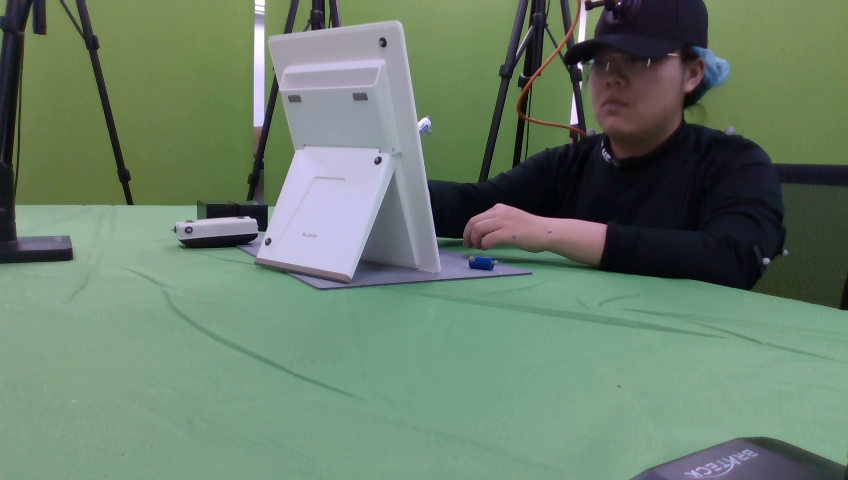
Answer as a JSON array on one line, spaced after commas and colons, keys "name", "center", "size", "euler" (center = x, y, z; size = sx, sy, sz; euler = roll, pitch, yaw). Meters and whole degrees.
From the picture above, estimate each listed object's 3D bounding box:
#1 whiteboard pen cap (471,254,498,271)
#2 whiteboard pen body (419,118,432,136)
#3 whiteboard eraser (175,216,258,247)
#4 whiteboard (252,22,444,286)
[{"name": "whiteboard pen cap", "center": [0.080, 0.031, 0.799], "size": [0.033, 0.018, 0.018], "euler": [19, 2, -17]}, {"name": "whiteboard pen body", "center": [-0.023, -0.128, 0.794], "size": [0.017, 0.017, 0.141], "euler": [6, 35, 25]}, {"name": "whiteboard eraser", "center": [-0.314, -0.012, 0.914], "size": [0.113, 0.042, 0.055], "euler": [-5, 12, -30]}, {"name": "whiteboard", "center": [-0.125, -0.081, 0.714], "size": [0.216, 0.305, 0.144], "euler": [9, 29, 37]}]
